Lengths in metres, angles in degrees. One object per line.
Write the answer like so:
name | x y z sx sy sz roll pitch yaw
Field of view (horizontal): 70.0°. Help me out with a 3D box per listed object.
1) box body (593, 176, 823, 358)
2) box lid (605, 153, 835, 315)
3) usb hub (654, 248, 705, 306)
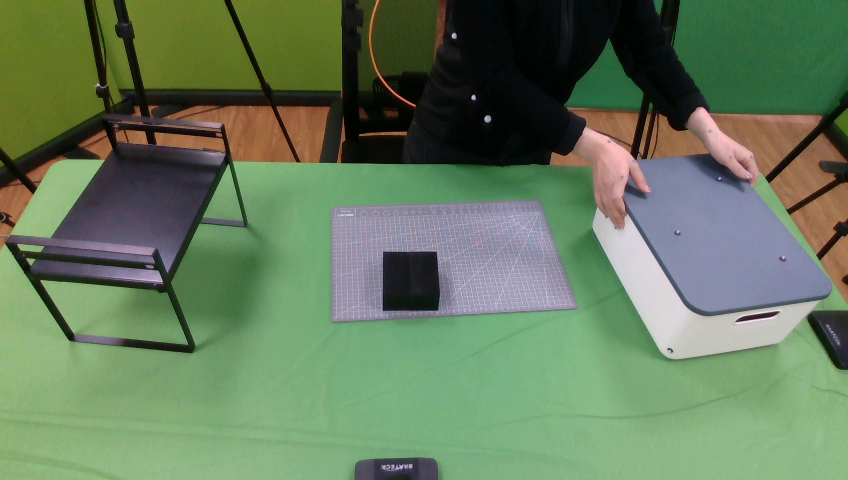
box body | 0.497 0.023 1.112 0.254 0.161 0.361 -7 47 -10
box lid | 0.499 -0.029 1.060 0.264 0.015 0.369 -6 47 -10
usb hub | 0.482 0.069 1.150 0.049 0.025 0.124 -1 48 -8
